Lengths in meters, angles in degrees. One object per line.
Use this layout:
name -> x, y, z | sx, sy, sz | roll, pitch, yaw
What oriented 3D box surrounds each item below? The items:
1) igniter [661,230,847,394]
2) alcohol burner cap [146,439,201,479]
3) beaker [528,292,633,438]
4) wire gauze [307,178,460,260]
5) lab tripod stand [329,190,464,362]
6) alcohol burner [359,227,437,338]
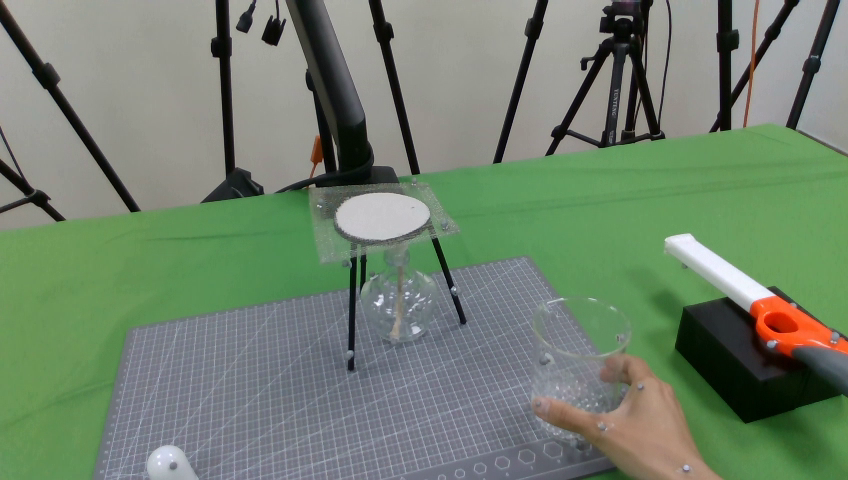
igniter -> 0.302, 0.060, 0.532 | 0.057, 0.025, 0.273 | -11, 30, -12
alcohol burner cap -> -0.191, 0.171, 0.459 | 0.034, 0.048, 0.033 | -1, 33, 1
beaker -> 0.120, 0.102, 0.493 | 0.074, 0.101, 0.083 | -19, 35, -25
wire gauze -> -0.041, -0.027, 0.549 | 0.122, 0.011, 0.123 | -8, 33, -11
lab tripod stand -> -0.035, 0.027, 0.589 | 0.148, 0.132, 0.147 | -1, 31, 1
alcohol burner -> -0.026, 0.037, 0.592 | 0.078, 0.120, 0.077 | 0, 34, 1
